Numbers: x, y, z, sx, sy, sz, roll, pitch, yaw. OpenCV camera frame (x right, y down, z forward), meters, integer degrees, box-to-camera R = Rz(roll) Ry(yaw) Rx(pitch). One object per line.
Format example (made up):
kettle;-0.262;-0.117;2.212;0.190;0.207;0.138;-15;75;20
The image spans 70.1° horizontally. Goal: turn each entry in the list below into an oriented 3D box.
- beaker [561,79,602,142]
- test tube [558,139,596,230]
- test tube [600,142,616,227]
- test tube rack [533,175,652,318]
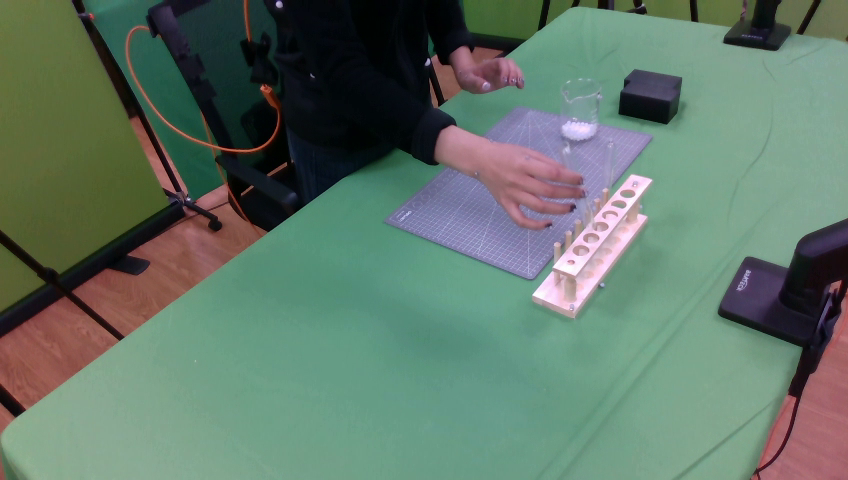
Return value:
beaker;0.295;-0.243;1.150;0.073;0.101;0.084;22;50;32
test tube;0.196;-0.066;0.768;0.017;0.151;0.017;-17;41;16
test tube;0.275;-0.081;0.908;0.017;0.151;0.017;-5;40;5
test tube rack;0.251;-0.001;0.888;0.066;0.085;0.243;22;49;32
